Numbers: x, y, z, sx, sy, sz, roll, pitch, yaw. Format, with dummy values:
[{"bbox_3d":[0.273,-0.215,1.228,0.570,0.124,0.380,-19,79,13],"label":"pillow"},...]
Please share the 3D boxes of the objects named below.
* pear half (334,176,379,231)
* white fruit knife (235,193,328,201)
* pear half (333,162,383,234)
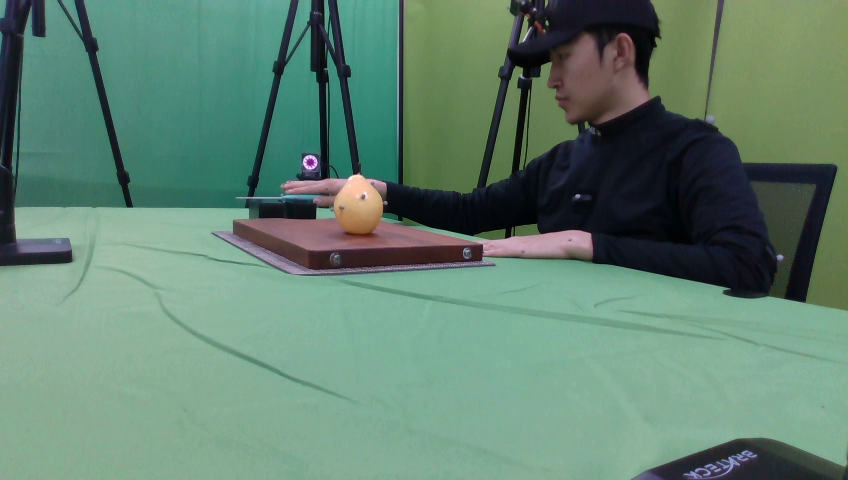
[{"bbox_3d":[-0.109,-0.058,0.953,0.071,0.088,0.031,-8,12,-21],"label":"pear half"},{"bbox_3d":[-0.296,-0.089,1.282,0.208,0.016,0.027,-5,7,-33],"label":"white fruit knife"},{"bbox_3d":[-0.098,-0.063,0.918,0.076,0.110,0.055,-5,10,-20],"label":"pear half"}]
